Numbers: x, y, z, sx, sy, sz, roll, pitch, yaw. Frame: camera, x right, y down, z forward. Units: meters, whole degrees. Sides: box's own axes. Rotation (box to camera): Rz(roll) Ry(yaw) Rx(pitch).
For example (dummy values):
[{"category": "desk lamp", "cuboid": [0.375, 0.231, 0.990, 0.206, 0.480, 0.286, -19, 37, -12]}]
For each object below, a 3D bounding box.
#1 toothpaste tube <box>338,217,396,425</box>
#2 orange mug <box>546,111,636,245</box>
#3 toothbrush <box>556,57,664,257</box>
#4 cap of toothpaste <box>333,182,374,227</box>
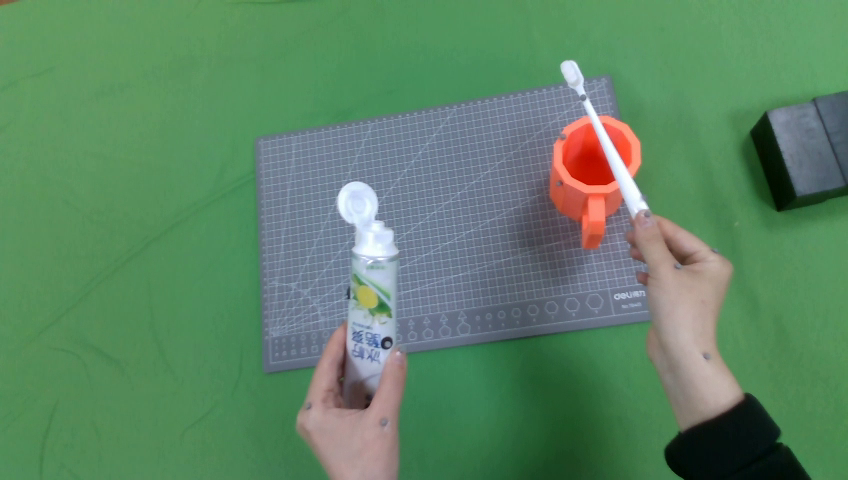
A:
[{"category": "toothpaste tube", "cuboid": [-0.044, 0.063, 0.468, 0.054, 0.034, 0.165, 11, 106, 30]}, {"category": "orange mug", "cuboid": [0.176, -0.062, 0.649, 0.083, 0.101, 0.125, -1, 71, 9]}, {"category": "toothbrush", "cuboid": [0.150, -0.069, 0.491, 0.014, 0.017, 0.181, -27, 84, 23]}, {"category": "cap of toothpaste", "cuboid": [-0.052, -0.027, 0.462, 0.037, 0.011, 0.037, 5, 82, -35]}]
